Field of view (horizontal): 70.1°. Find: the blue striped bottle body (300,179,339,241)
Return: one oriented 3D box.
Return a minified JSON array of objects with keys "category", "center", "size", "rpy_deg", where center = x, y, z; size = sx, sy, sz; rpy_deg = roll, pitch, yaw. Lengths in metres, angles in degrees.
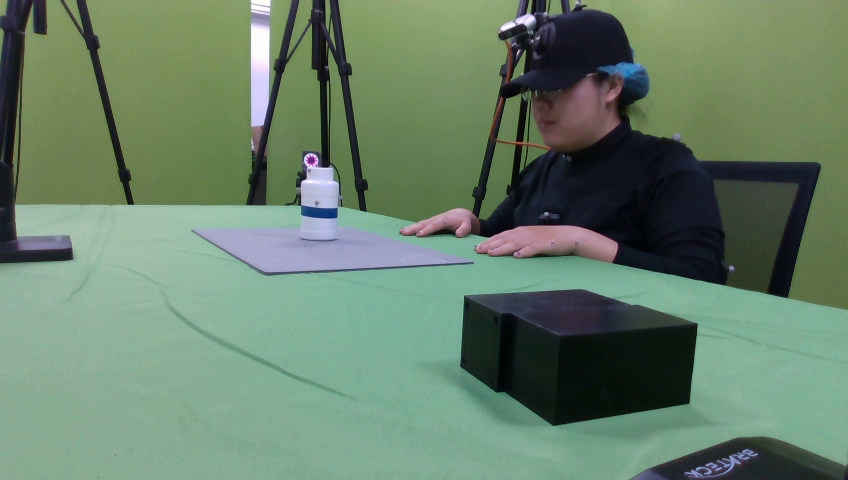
[{"category":"blue striped bottle body","center":[-0.176,-0.062,1.018],"size":[0.063,0.120,0.063],"rpy_deg":[3,7,0]}]

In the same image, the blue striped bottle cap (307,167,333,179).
[{"category":"blue striped bottle cap","center":[-0.174,-0.112,1.011],"size":[0.044,0.020,0.044],"rpy_deg":[2,6,0]}]
